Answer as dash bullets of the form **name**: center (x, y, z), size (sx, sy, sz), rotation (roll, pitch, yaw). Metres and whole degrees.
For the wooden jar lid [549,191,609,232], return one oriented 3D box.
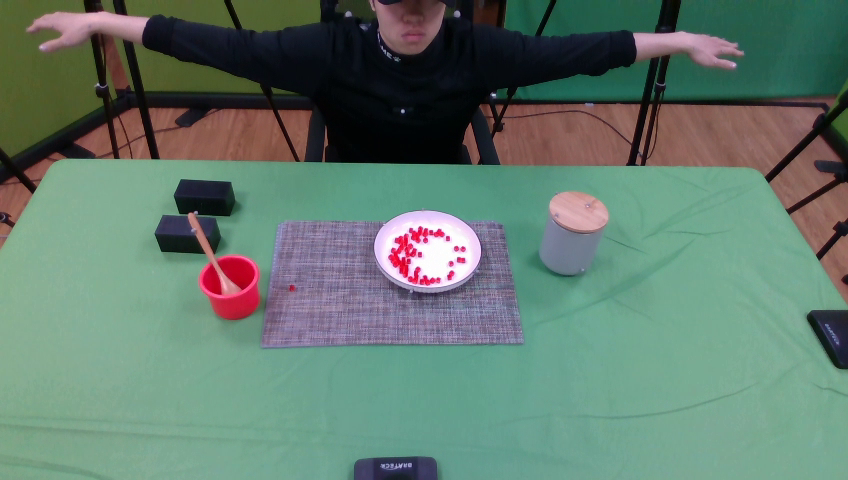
- **wooden jar lid**: center (0.280, -0.049, 1.101), size (0.108, 0.021, 0.107), rotation (2, 44, -2)

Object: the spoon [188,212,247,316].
- **spoon**: center (-0.358, 0.042, 1.036), size (0.041, 0.021, 0.194), rotation (-28, 93, -21)

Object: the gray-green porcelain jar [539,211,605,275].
- **gray-green porcelain jar**: center (0.278, -0.004, 1.148), size (0.106, 0.127, 0.105), rotation (2, 46, -2)

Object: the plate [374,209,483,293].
- **plate**: center (0.008, 0.024, 1.158), size (0.208, 0.039, 0.206), rotation (2, 46, -2)
